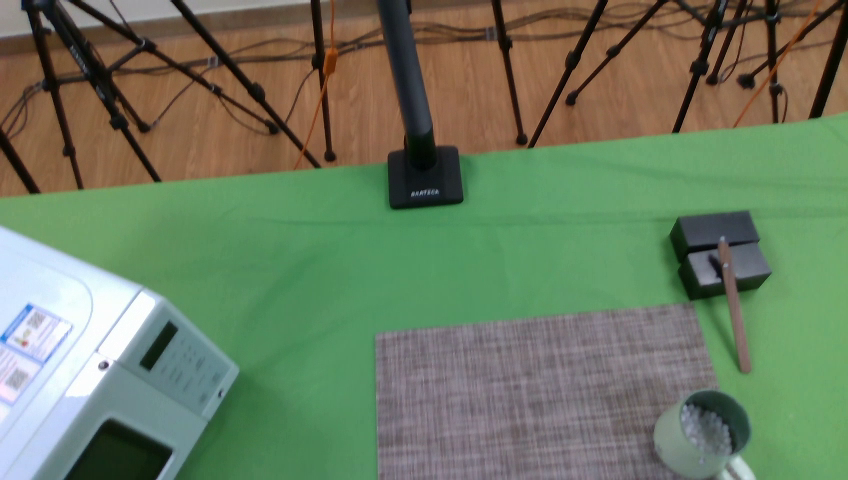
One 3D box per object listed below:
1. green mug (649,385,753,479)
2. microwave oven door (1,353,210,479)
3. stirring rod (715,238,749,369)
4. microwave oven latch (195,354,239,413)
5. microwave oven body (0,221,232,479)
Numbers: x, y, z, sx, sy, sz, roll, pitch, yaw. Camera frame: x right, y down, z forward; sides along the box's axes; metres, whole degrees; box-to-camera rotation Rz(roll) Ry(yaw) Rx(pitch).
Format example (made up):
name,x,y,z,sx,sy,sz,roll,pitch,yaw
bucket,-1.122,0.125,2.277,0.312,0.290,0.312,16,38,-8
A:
name,x,y,z,sx,sy,sz,roll,pitch,yaw
green mug,0.331,0.237,0.708,0.092,0.106,0.124,-27,61,-11
microwave oven door,-0.381,0.312,0.630,0.039,0.246,0.354,19,64,16
stirring rod,0.411,0.084,0.808,0.014,0.006,0.175,-9,84,12
microwave oven latch,-0.280,0.188,0.811,0.030,0.030,0.079,21,65,16
microwave oven body,-0.496,0.235,0.691,0.324,0.262,0.439,20,64,15
